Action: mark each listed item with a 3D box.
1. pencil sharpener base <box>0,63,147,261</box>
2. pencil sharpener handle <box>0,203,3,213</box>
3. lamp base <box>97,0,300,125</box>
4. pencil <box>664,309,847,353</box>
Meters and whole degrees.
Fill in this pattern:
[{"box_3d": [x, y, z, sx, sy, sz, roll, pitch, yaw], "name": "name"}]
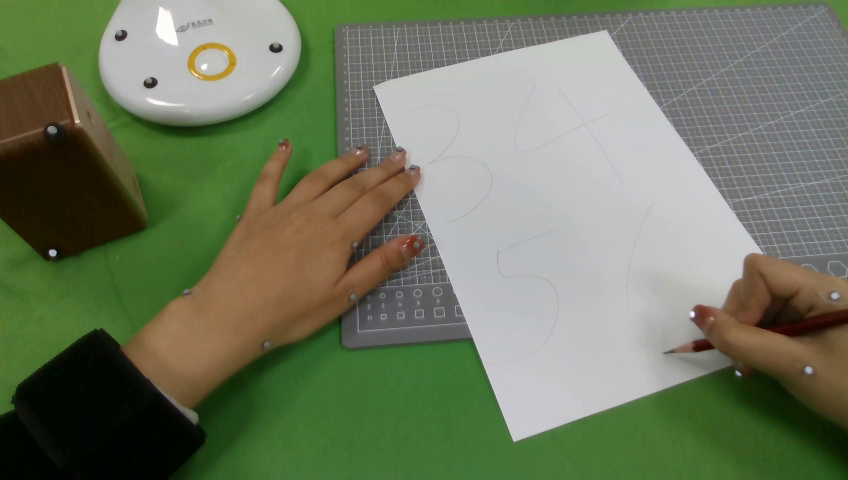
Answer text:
[{"box_3d": [-0.235, -0.044, 0.381, 0.077, 0.108, 0.061, -23, 62, -13], "name": "pencil sharpener base"}, {"box_3d": [-0.282, -0.032, 0.359, 0.031, 0.068, 0.035, -23, 64, -13], "name": "pencil sharpener handle"}, {"box_3d": [-0.189, -0.204, 0.436, 0.160, 0.182, 0.177, -32, 62, -19], "name": "lamp base"}, {"box_3d": [0.217, 0.041, 0.318, 0.012, 0.193, 0.012, 21, 58, -38], "name": "pencil"}]
